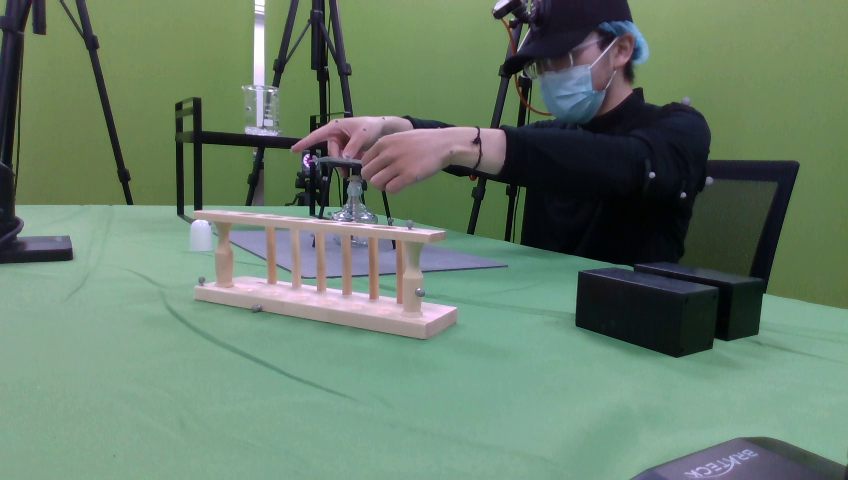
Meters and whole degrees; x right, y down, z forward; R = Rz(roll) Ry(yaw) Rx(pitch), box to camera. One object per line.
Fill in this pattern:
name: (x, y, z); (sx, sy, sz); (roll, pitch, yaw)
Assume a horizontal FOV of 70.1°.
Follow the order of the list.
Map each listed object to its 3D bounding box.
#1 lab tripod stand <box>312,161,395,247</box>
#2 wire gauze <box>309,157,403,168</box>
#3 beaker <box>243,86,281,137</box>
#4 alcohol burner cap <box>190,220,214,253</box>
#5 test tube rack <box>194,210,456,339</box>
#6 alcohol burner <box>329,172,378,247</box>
lab tripod stand: (-0.110, -0.058, 0.970); (0.148, 0.131, 0.148); (4, 6, 0)
wire gauze: (-0.110, -0.125, 0.955); (0.125, 0.011, 0.121); (0, 9, -22)
beaker: (-0.338, -0.265, 1.252); (0.073, 0.100, 0.084); (8, 9, 38)
alcohol burner cap: (-0.321, -0.006, 0.875); (0.034, 0.048, 0.034); (4, 8, 0)
test tube rack: (-0.093, 0.023, 0.545); (0.241, 0.085, 0.067); (6, 8, 25)
alcohol burner: (-0.113, -0.049, 0.972); (0.078, 0.119, 0.078); (1, 9, 0)
